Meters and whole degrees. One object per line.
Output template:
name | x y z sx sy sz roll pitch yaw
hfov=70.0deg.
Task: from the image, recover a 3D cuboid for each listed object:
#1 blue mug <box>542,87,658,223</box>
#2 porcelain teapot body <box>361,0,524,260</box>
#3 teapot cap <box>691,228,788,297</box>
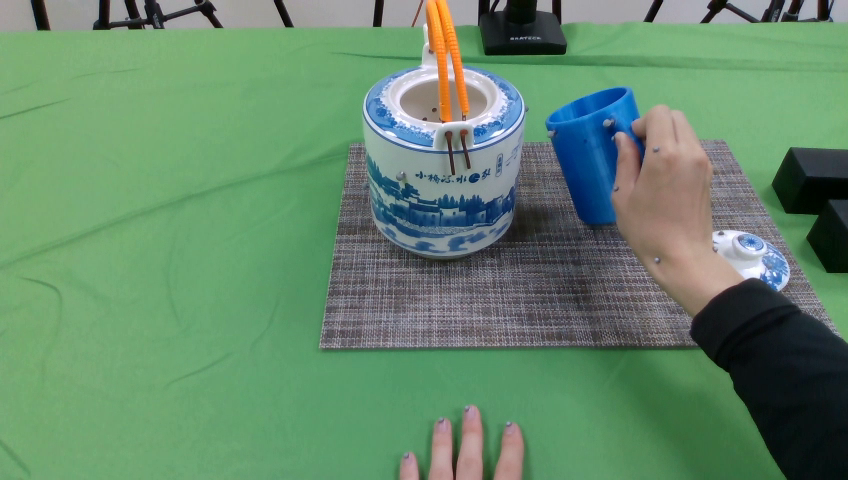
blue mug | 0.173 -0.076 0.566 0.082 0.106 0.115 -27 20 -5
porcelain teapot body | 0.012 -0.119 0.570 0.145 0.227 0.203 -6 44 -5
teapot cap | 0.292 0.015 0.559 0.085 0.044 0.084 1 44 0
